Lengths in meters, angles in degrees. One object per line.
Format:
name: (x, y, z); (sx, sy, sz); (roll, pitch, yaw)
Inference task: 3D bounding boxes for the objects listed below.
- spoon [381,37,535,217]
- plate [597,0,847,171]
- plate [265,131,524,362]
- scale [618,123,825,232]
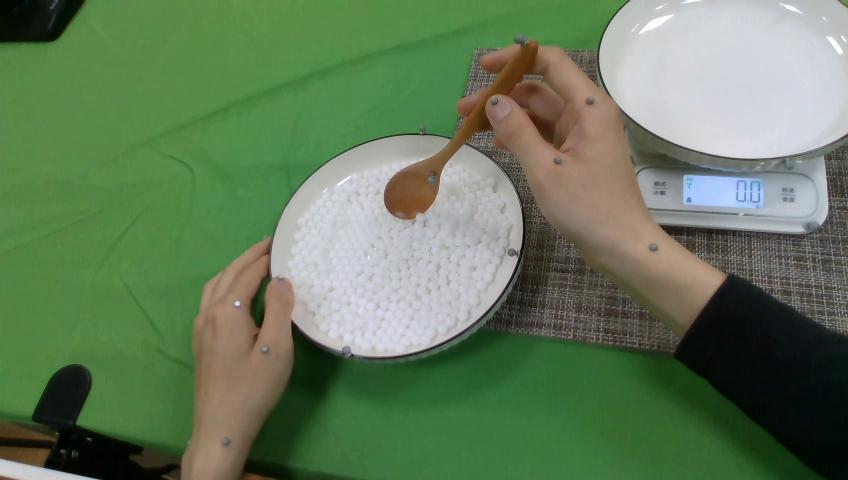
spoon: (0.021, -0.071, 0.433); (0.042, 0.194, 0.021); (27, 53, -15)
plate: (0.244, -0.135, 0.483); (0.207, 0.039, 0.205); (-5, 59, 8)
plate: (-0.023, 0.003, 0.489); (0.209, 0.038, 0.207); (-5, 59, 9)
scale: (0.242, -0.101, 0.501); (0.148, 0.032, 0.199); (5, 61, 14)
